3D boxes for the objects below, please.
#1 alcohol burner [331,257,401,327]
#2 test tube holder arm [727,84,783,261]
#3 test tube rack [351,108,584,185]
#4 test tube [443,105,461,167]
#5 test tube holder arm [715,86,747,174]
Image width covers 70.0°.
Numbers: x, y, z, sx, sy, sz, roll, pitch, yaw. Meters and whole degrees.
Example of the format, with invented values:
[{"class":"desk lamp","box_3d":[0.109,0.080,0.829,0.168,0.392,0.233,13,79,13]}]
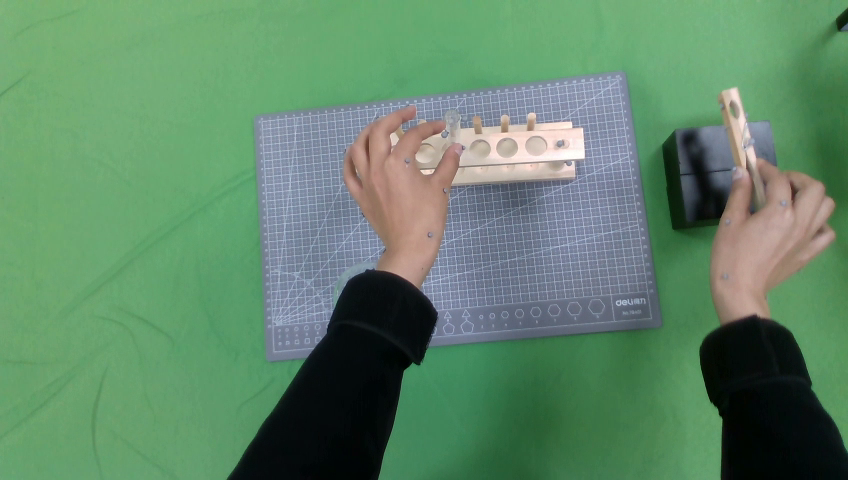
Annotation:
[{"class":"alcohol burner","box_3d":[-0.065,0.054,0.648,0.078,0.119,0.077,-1,80,4]},{"class":"test tube holder arm","box_3d":[0.321,-0.066,0.592,0.013,0.015,0.178,-16,86,9]},{"class":"test tube rack","box_3d":[0.047,-0.108,0.673,0.242,0.085,0.066,-3,82,5]},{"class":"test tube","box_3d":[0.030,-0.103,0.623,0.017,0.151,0.017,-1,80,4]},{"class":"test tube holder arm","box_3d":[0.304,-0.108,0.596,0.010,0.015,0.087,-14,86,10]}]
